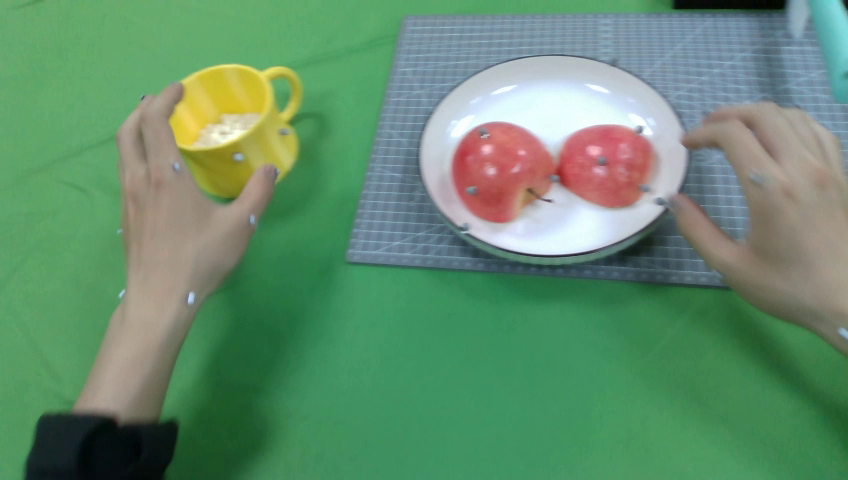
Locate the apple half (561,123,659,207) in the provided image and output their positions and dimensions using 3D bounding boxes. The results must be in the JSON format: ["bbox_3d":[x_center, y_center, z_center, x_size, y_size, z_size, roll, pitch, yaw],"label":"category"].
[{"bbox_3d":[0.146,-0.068,0.475,0.081,0.033,0.080,-4,60,7],"label":"apple half"}]

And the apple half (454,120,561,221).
[{"bbox_3d":[0.064,-0.063,0.474,0.081,0.054,0.074,-34,56,-12],"label":"apple half"}]

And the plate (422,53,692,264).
[{"bbox_3d":[0.102,-0.067,0.490,0.209,0.038,0.207,-4,58,6],"label":"plate"}]

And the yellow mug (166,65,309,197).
[{"bbox_3d":[-0.155,-0.108,0.543,0.099,0.064,0.130,36,69,26],"label":"yellow mug"}]

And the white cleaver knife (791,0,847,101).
[{"bbox_3d":[0.343,-0.220,0.531,0.021,0.066,0.284,2,54,16],"label":"white cleaver knife"}]
